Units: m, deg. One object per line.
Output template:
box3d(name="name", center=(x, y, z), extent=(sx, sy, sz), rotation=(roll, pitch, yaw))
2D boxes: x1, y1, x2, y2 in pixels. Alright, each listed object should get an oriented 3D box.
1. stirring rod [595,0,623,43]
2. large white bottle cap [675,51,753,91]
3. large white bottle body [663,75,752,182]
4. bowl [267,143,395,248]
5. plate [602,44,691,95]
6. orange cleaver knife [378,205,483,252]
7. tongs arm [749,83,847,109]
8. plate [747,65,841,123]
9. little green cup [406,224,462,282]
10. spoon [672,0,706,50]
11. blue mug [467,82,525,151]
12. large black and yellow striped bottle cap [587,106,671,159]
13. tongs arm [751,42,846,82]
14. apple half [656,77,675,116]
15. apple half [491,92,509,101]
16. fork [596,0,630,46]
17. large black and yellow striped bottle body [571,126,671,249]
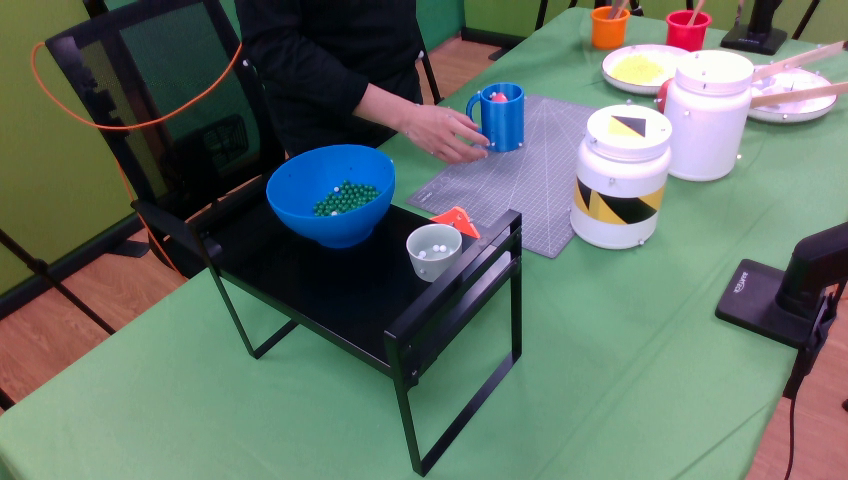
box3d(name="stirring rod", center=(0.460, -0.556, 1.459), extent=(0.014, 0.006, 0.176), rotation=(30, 93, 23))
box3d(name="large white bottle cap", center=(0.463, -0.271, 0.967), extent=(0.115, 0.018, 0.114), rotation=(-4, 40, 3))
box3d(name="large white bottle body", center=(0.472, -0.207, 1.022), extent=(0.130, 0.185, 0.130), rotation=(-4, 41, 4))
box3d(name="bowl", center=(-0.104, -0.043, 0.726), extent=(0.151, 0.077, 0.150), rotation=(-4, 41, 4))
box3d(name="plate", center=(0.495, -0.366, 1.317), extent=(0.209, 0.038, 0.208), rotation=(-4, 40, 4))
box3d(name="orange cleaver knife", center=(0.005, -0.010, 0.943), extent=(0.210, 0.077, 0.012), rotation=(-5, 23, 47))
box3d(name="tongs arm", center=(0.734, -0.280, 1.133), extent=(0.388, 0.028, 0.028), rotation=(-9, 47, -5))
box3d(name="plate", center=(0.695, -0.282, 1.189), extent=(0.207, 0.039, 0.206), rotation=(-4, 40, 4))
box3d(name="little green cup", center=(0.013, 0.015, 0.668), extent=(0.061, 0.039, 0.061), rotation=(-4, 40, 4))
box3d(name="spoon", center=(0.629, -0.520, 1.394), extent=(0.041, 0.022, 0.193), rotation=(30, 97, 34))
box3d(name="blue mug", center=(0.138, -0.241, 1.169), extent=(0.116, 0.106, 0.082), rotation=(11, 44, 21))
box3d(name="large black and yellow striped bottle cap", center=(0.290, -0.154, 0.858), extent=(0.115, 0.019, 0.114), rotation=(-4, 42, 4))
box3d(name="tongs arm", center=(0.708, -0.331, 1.194), extent=(0.386, 0.026, 0.050), rotation=(-18, 45, -16))
box3d(name="apple half", center=(0.488, -0.281, 1.192), extent=(0.053, 0.075, 0.081), rotation=(24, 54, 37))
box3d(name="apple half", center=(0.141, -0.239, 1.158), extent=(0.033, 0.081, 0.080), rotation=(-13, 40, -17))
box3d(name="fork", center=(0.481, -0.556, 1.452), extent=(0.028, 0.019, 0.207), rotation=(40, 103, 41))
box3d(name="large black and yellow striped bottle body", center=(0.296, -0.093, 0.915), extent=(0.131, 0.185, 0.130), rotation=(-3, 42, 3))
